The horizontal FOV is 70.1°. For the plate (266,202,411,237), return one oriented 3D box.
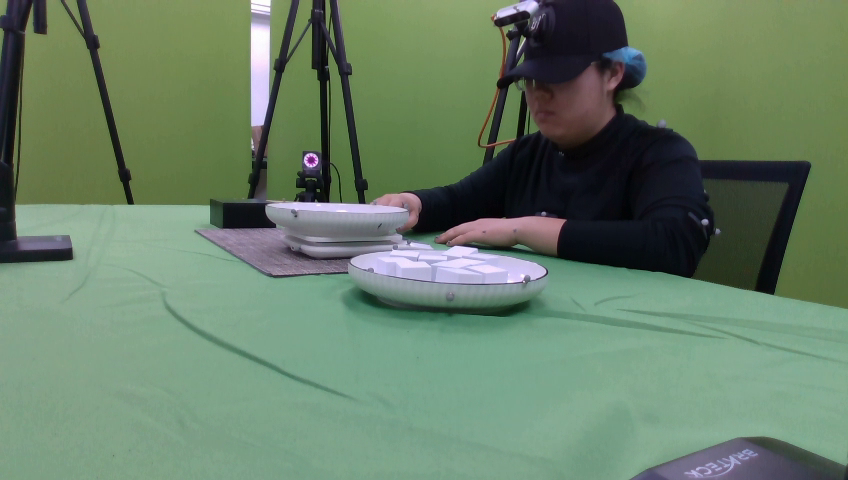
[{"bbox_3d":[-0.123,-0.030,0.879,0.208,0.039,0.207,2,6,0],"label":"plate"}]

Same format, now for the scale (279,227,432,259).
[{"bbox_3d":[-0.100,0.002,0.899,0.202,0.031,0.148,-1,8,-31],"label":"scale"}]

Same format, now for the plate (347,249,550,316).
[{"bbox_3d":[0.025,0.042,0.627,0.209,0.038,0.209,2,7,0],"label":"plate"}]

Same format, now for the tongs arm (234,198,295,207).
[{"bbox_3d":[-0.263,-0.076,1.460,0.386,0.026,0.050,3,8,-8],"label":"tongs arm"}]

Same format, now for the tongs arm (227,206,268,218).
[{"bbox_3d":[-0.247,-0.062,1.381,0.389,0.028,0.028,0,5,-21],"label":"tongs arm"}]
